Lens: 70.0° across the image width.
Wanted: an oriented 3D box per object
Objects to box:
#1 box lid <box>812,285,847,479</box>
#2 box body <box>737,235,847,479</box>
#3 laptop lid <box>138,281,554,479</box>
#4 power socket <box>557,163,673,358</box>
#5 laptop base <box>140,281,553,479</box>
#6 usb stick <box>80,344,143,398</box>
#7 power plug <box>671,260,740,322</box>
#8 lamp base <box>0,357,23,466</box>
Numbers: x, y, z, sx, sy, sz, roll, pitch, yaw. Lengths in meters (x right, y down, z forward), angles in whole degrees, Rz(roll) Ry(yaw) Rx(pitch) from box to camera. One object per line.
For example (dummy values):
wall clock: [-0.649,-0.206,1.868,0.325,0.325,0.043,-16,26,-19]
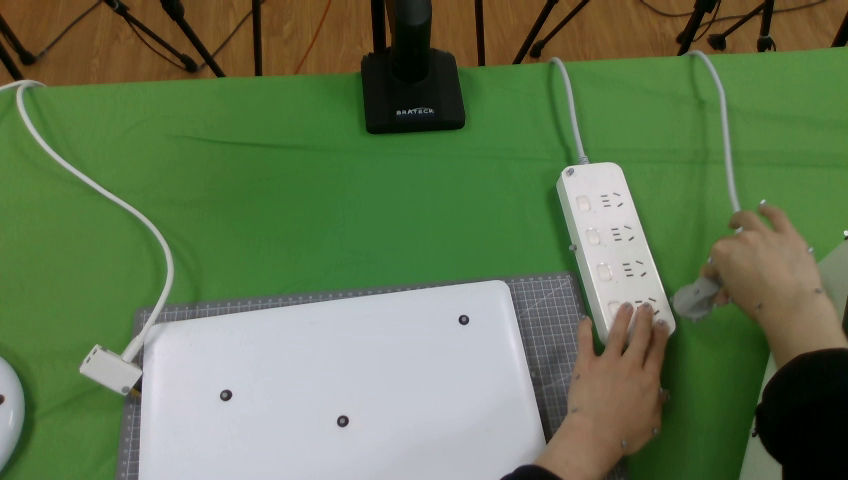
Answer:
box lid: [0.419,0.151,0.421,0.262,0.015,0.370,25,63,11]
box body: [0.415,0.188,0.487,0.253,0.161,0.362,25,63,10]
laptop lid: [-0.072,0.163,0.542,0.357,0.013,0.239,-5,65,-6]
power socket: [0.198,0.012,0.644,0.072,0.033,0.224,-5,62,-7]
laptop base: [-0.072,0.166,0.553,0.355,0.023,0.233,-7,66,-7]
usb stick: [-0.275,0.120,0.545,0.027,0.060,0.021,-54,31,-16]
power plug: [0.278,0.056,0.592,0.072,0.053,0.035,-20,59,-4]
lamp base: [-0.446,0.124,0.463,0.178,0.181,0.159,19,61,11]
